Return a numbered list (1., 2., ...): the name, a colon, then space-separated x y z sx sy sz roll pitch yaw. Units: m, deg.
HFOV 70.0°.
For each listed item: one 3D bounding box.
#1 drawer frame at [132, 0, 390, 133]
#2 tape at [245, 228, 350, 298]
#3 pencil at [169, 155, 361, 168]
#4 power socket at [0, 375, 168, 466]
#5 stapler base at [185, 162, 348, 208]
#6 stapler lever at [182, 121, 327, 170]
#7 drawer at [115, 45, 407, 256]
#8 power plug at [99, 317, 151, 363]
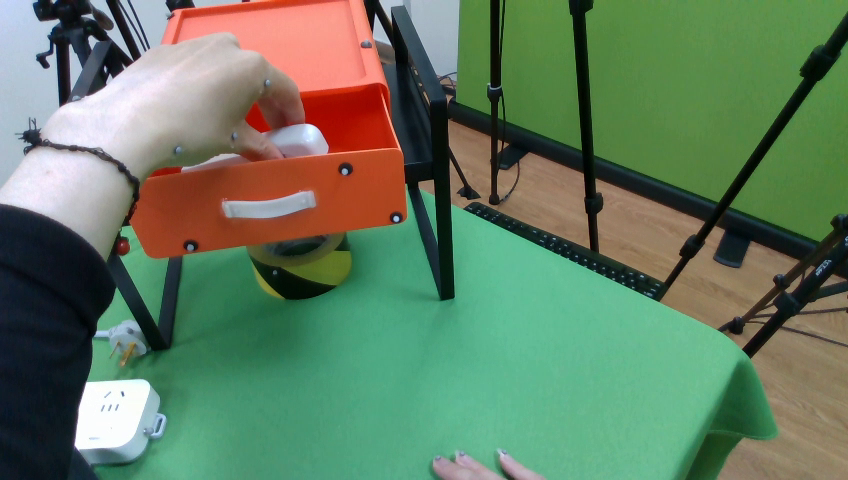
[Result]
1. drawer frame: -0.144 -0.153 0.572 0.202 0.083 0.211 -10 42 -6
2. tape: -0.141 0.006 0.687 0.117 0.053 0.115 -1 44 1
3. pencil: -0.138 -0.067 0.508 0.193 0.012 0.012 3 42 23
4. power socket: -0.349 0.163 0.543 0.227 0.033 0.071 -4 42 1
5. stapler base: -0.128 -0.048 0.486 0.130 0.024 0.041 -3 38 8
6. stapler lever: -0.133 -0.067 0.470 0.118 0.040 0.026 -3 38 8
7. drawer: -0.126 -0.091 0.506 0.195 0.074 0.209 -9 42 -5
8. power plug: -0.308 0.107 0.615 0.072 0.035 0.052 -30 29 26
